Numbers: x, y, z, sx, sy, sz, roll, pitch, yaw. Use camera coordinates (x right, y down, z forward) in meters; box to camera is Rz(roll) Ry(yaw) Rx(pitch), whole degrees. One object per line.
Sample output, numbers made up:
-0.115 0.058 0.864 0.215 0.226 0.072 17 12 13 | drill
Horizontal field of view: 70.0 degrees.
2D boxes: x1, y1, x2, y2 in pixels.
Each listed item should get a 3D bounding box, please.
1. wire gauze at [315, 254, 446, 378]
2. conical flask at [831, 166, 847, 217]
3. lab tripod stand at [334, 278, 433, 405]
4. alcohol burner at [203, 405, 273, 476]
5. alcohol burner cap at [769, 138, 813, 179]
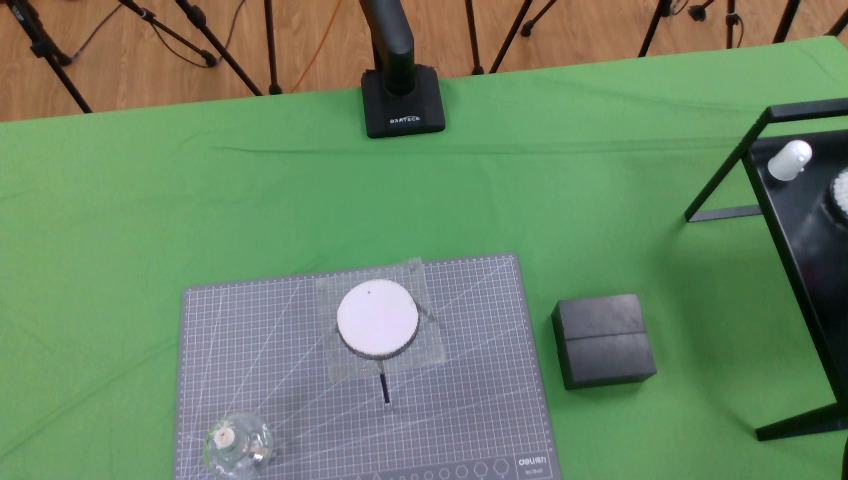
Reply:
-0.049 0.080 0.651 0.125 0.011 0.120 -10 66 -6 | wire gauze
0.482 -0.071 0.611 0.075 0.123 0.074 0 65 -1 | conical flask
-0.048 0.107 0.713 0.148 0.132 0.147 0 63 0 | lab tripod stand
-0.210 0.219 0.671 0.078 0.120 0.077 1 63 -2 | alcohol burner
0.405 -0.092 0.663 0.034 0.048 0.033 0 66 0 | alcohol burner cap
